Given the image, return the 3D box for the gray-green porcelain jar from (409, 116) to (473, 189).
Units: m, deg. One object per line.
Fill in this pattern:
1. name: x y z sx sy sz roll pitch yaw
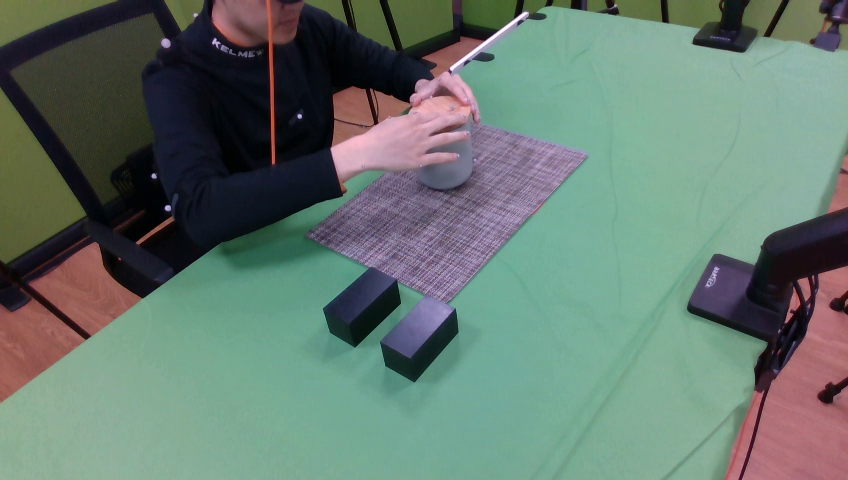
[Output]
1. gray-green porcelain jar: 0.032 -0.163 1.068 0.106 0.127 0.105 -4 41 4

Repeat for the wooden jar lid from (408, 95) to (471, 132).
1. wooden jar lid: 0.027 -0.211 1.026 0.108 0.021 0.108 -6 41 6
